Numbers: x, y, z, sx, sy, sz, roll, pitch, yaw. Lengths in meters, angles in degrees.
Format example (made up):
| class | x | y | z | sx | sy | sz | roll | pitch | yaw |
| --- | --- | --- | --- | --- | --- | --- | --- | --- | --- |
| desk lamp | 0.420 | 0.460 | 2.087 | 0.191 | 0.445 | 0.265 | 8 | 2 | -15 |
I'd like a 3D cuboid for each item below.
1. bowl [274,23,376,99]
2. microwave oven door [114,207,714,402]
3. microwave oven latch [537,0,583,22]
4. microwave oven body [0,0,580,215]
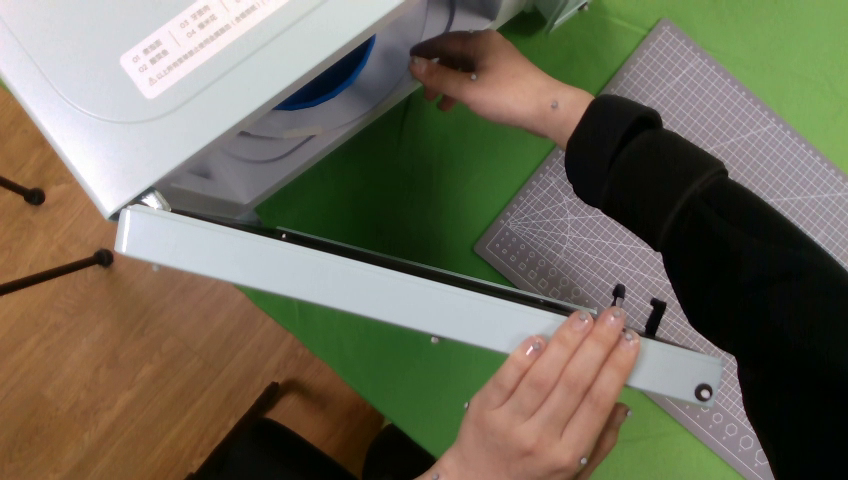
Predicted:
| class | x | y | z | sx | sy | sz | roll | pitch | yaw |
| --- | --- | --- | --- | --- | --- | --- | --- | --- | --- |
| bowl | -0.109 | -0.180 | 0.490 | 0.151 | 0.077 | 0.151 | 0 | 87 | -1 |
| microwave oven door | -0.005 | 0.035 | 0.461 | 0.356 | 0.243 | 0.039 | 15 | 89 | -2 |
| microwave oven latch | 0.145 | -0.239 | 0.564 | 0.079 | 0.029 | 0.030 | -34 | 92 | -1 |
| microwave oven body | -0.083 | -0.253 | 0.459 | 0.442 | 0.260 | 0.326 | -36 | 92 | -1 |
